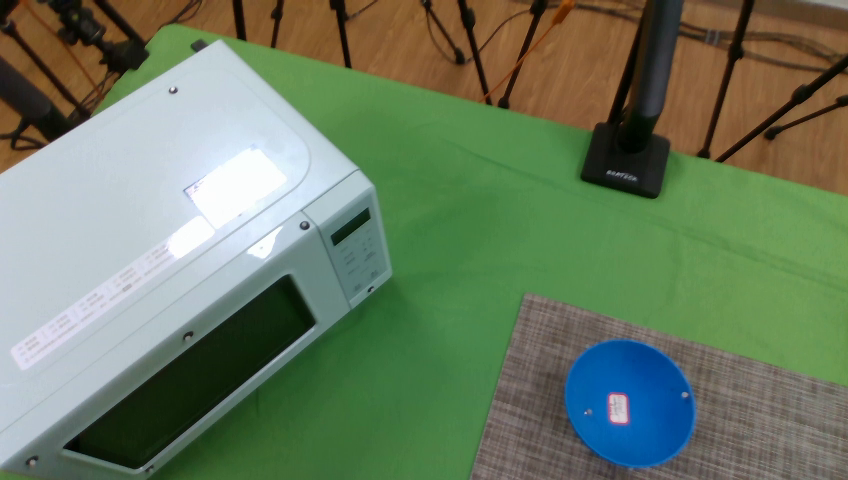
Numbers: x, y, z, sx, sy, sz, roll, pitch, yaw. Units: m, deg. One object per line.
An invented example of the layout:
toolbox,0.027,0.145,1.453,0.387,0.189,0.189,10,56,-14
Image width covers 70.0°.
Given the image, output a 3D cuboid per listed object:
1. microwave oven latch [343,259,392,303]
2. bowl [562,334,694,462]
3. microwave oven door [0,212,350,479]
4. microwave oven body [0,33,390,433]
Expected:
microwave oven latch,-0.080,0.051,0.836,0.079,0.030,0.030,-38,68,-15
bowl,0.239,0.199,0.742,0.151,0.077,0.150,-1,62,2
microwave oven door,-0.248,0.136,0.683,0.355,0.246,0.039,-40,67,-17
microwave oven body,-0.315,0.019,0.751,0.441,0.262,0.323,-40,69,-16
